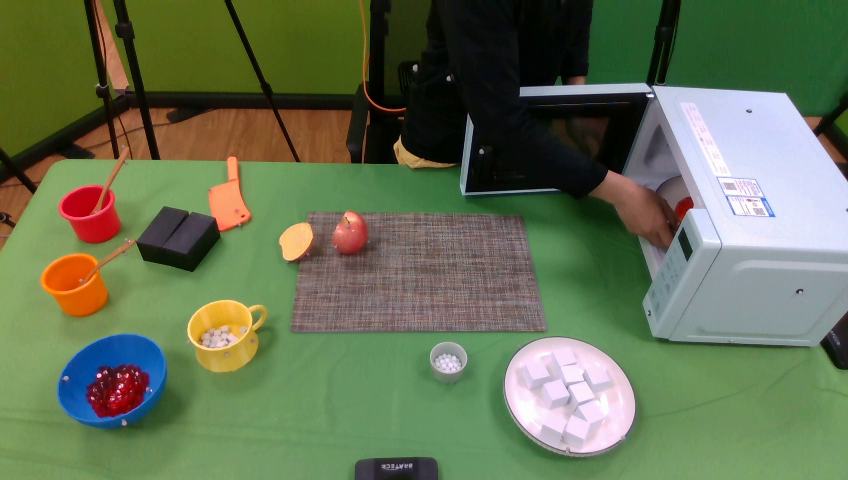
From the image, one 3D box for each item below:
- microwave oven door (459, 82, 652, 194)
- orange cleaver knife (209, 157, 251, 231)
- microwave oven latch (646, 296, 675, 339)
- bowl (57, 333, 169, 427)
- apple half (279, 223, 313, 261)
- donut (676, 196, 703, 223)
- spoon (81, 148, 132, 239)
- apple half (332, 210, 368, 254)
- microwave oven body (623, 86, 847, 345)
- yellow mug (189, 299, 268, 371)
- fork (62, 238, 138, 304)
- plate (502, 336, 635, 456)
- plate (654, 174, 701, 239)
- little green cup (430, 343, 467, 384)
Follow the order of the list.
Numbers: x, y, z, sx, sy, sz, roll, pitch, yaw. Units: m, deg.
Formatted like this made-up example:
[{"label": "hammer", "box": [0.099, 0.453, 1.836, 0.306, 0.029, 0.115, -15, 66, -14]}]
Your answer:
[{"label": "microwave oven door", "box": [0.259, -0.204, 1.236, 0.356, 0.245, 0.039, -4, 46, -7]}, {"label": "orange cleaver knife", "box": [-0.409, -0.099, 1.266, 0.077, 0.012, 0.210, -14, 50, -9]}, {"label": "microwave oven latch", "box": [0.412, 0.134, 1.061, 0.030, 0.029, 0.078, 4, 45, 1]}, {"label": "bowl", "box": [-0.456, 0.223, 0.912, 0.151, 0.077, 0.150, 3, 45, -2]}, {"label": "apple half", "box": [-0.237, 0.007, 1.157, 0.081, 0.033, 0.081, -13, 60, 23]}, {"label": "donut", "box": [0.538, -0.048, 1.171, 0.099, 0.048, 0.098, 2, 41, -2]}, {"label": "spoon", "box": [-0.603, -0.089, 1.156, 0.041, 0.022, 0.193, 28, 95, 20]}, {"label": "apple half", "box": [-0.135, -0.010, 1.158, 0.053, 0.075, 0.080, 17, 43, 8]}, {"label": "microwave oven body", "box": [0.567, -0.053, 1.118, 0.326, 0.261, 0.439, 2, 45, -1]}, {"label": "yellow mug", "box": [-0.316, 0.148, 1.002, 0.131, 0.064, 0.099, -32, 56, -31]}, {"label": "fork", "box": [-0.547, 0.053, 1.019, 0.207, 0.019, 0.028, -36, 41, 23]}, {"label": "plate", "box": [0.225, 0.248, 0.964, 0.208, 0.039, 0.206, 2, 46, -2]}, {"label": "plate", "box": [0.555, -0.044, 1.194, 0.209, 0.038, 0.208, 2, 52, -3]}, {"label": "little green cup", "box": [0.039, 0.203, 0.994, 0.061, 0.039, 0.061, 2, 46, -2]}]
